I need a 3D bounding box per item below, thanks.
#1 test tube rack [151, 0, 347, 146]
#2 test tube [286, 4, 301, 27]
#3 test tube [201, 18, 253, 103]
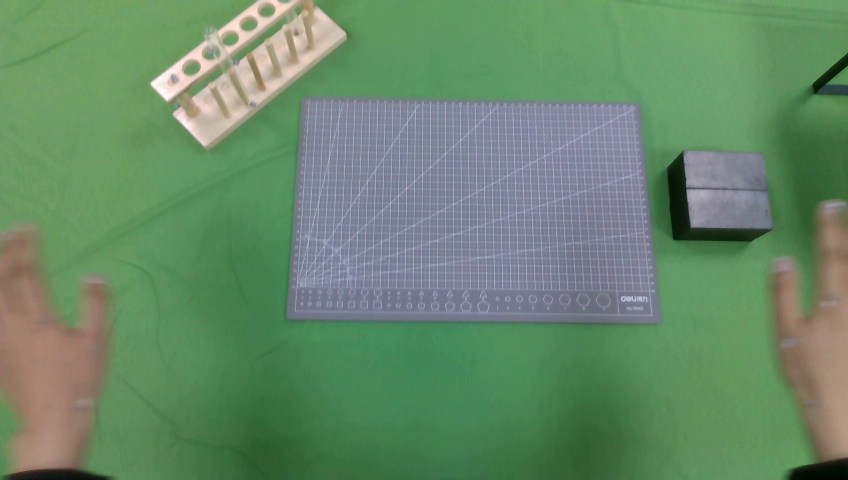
[{"bbox_3d":[-0.212,-0.235,0.768,0.242,0.085,0.066,-43,79,-12],"label":"test tube rack"},{"bbox_3d":[-0.173,-0.313,0.740,0.017,0.151,0.017,0,71,2],"label":"test tube"},{"bbox_3d":[-0.229,-0.208,0.714,0.017,0.151,0.017,0,71,1],"label":"test tube"}]
